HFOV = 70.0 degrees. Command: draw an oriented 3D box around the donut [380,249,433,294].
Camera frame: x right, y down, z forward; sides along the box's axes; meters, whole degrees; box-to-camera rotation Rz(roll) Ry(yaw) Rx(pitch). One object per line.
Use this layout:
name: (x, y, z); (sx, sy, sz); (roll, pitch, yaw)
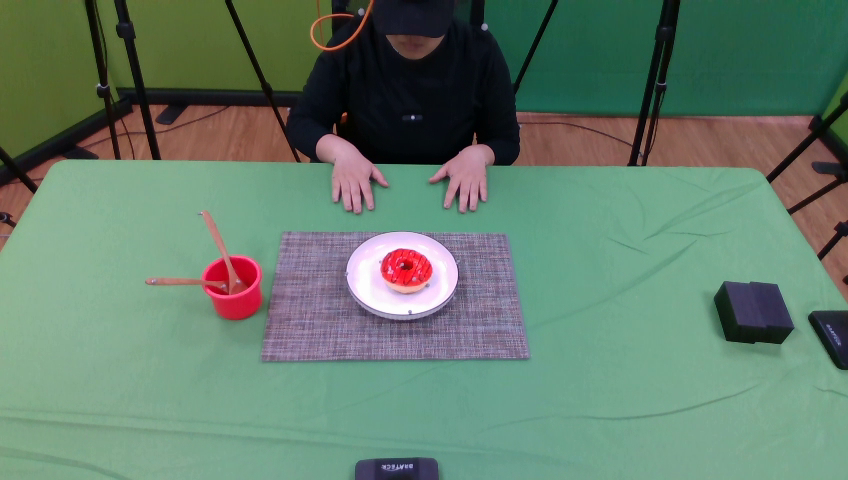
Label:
donut: (-0.032, 0.056, 1.111); (0.099, 0.048, 0.098); (4, 43, -3)

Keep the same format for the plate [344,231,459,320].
plate: (-0.042, 0.068, 1.115); (0.209, 0.038, 0.208); (2, 46, -2)

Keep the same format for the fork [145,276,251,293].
fork: (-0.368, 0.073, 1.006); (0.018, 0.208, 0.028); (-24, 72, 23)

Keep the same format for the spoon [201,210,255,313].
spoon: (-0.343, 0.037, 1.052); (0.041, 0.021, 0.194); (-23, 96, -32)
